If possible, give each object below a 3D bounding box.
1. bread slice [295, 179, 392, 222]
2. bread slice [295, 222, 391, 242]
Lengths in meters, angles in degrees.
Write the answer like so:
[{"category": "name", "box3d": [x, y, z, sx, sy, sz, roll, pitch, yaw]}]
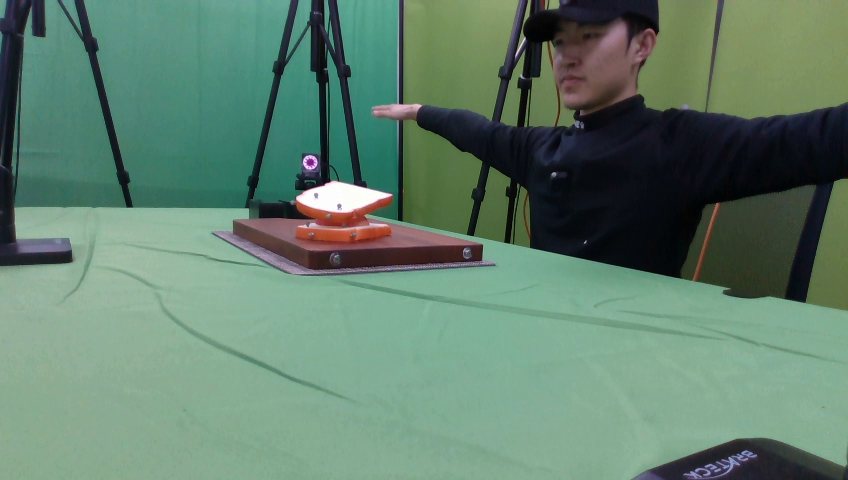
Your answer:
[{"category": "bread slice", "box3d": [-0.121, -0.058, 0.884, 0.106, 0.018, 0.134, 13, 24, 18]}, {"category": "bread slice", "box3d": [-0.123, -0.014, 0.890, 0.104, 0.019, 0.132, 3, 7, 23]}]
